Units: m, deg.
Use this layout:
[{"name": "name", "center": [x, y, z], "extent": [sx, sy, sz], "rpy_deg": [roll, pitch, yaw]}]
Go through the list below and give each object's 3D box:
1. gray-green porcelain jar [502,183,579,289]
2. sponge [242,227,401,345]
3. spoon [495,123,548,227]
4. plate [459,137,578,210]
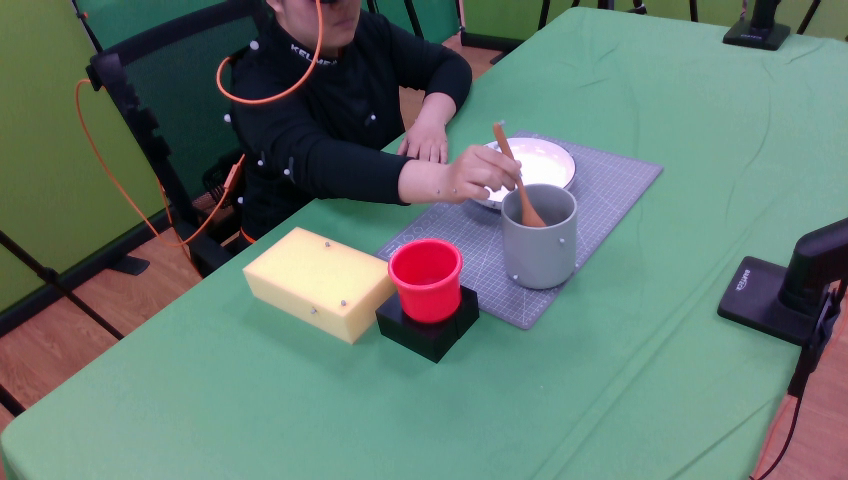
[{"name": "gray-green porcelain jar", "center": [0.167, -0.001, 0.866], "extent": [0.106, 0.127, 0.105], "rpy_deg": [-5, 40, 5]}, {"name": "sponge", "center": [-0.153, 0.063, 0.907], "extent": [0.205, 0.061, 0.118], "rpy_deg": [19, 48, 30]}, {"name": "spoon", "center": [0.130, -0.068, 0.806], "extent": [0.041, 0.194, 0.022], "rpy_deg": [-9, 24, 34]}, {"name": "plate", "center": [0.166, -0.113, 1.069], "extent": [0.207, 0.039, 0.206], "rpy_deg": [-5, 40, 5]}]
